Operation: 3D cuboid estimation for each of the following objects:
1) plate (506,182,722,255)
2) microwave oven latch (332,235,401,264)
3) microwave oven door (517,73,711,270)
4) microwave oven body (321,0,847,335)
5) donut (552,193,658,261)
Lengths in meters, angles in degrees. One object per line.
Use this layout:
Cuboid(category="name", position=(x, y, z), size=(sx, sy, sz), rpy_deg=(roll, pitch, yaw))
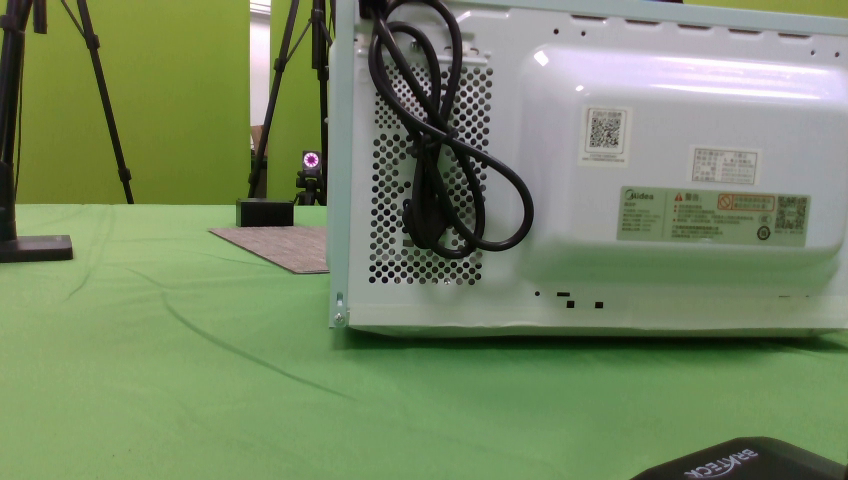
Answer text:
Cuboid(category="plate", position=(0.186, -0.023, 0.616), size=(0.209, 0.038, 0.209), rpy_deg=(4, 15, -1))
Cuboid(category="microwave oven latch", position=(-0.066, 0.010, 0.700), size=(0.079, 0.029, 0.030), rpy_deg=(2, 6, -8))
Cuboid(category="microwave oven door", position=(0.255, -0.103, 0.891), size=(0.039, 0.243, 0.354), rpy_deg=(-1, 8, -25))
Cuboid(category="microwave oven body", position=(0.133, -0.062, 0.568), size=(0.443, 0.260, 0.325), rpy_deg=(2, 6, -8))
Cuboid(category="donut", position=(0.172, -0.015, 0.578), size=(0.099, 0.048, 0.099), rpy_deg=(-11, 18, 4))
